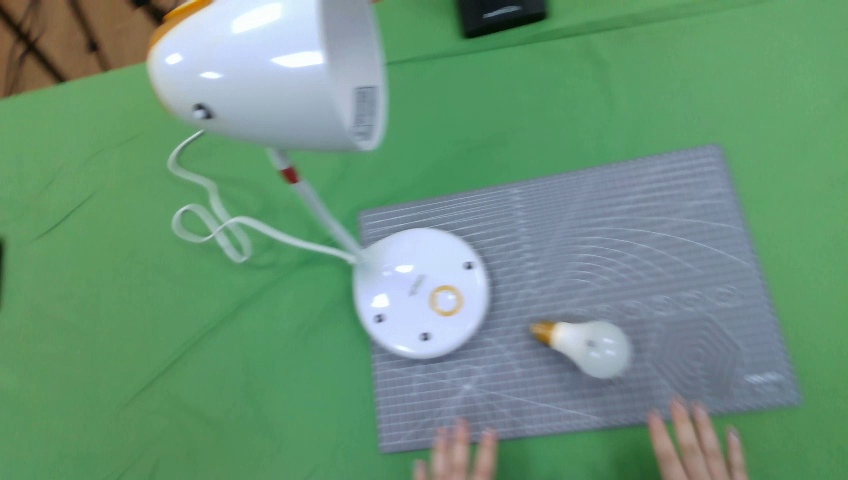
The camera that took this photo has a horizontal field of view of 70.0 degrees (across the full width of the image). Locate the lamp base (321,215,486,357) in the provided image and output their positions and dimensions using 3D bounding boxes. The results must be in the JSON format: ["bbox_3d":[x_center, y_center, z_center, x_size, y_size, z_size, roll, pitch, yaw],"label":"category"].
[{"bbox_3d":[-0.033,0.031,0.650,0.178,0.182,0.160,16,76,19],"label":"lamp base"}]

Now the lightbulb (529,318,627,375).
[{"bbox_3d":[0.164,0.108,0.656,0.107,0.060,0.059,14,75,32],"label":"lightbulb"}]

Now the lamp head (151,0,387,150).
[{"bbox_3d":[-0.089,-0.102,0.355,0.122,0.113,0.111,-6,71,17],"label":"lamp head"}]
